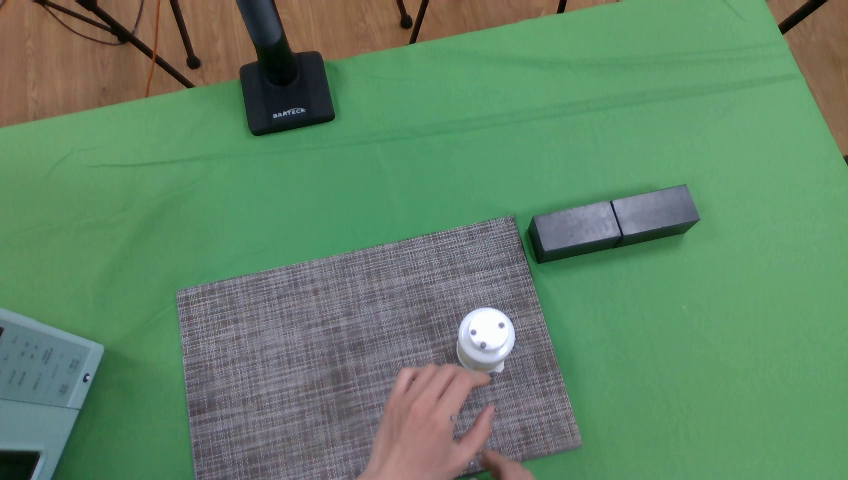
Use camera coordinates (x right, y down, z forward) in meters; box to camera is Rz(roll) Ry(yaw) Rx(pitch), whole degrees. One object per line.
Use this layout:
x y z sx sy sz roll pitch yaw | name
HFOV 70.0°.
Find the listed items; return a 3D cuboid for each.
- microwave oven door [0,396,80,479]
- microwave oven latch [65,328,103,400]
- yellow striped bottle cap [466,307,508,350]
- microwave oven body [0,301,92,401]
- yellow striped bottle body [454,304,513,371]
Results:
-0.468 0.314 0.554 0.039 0.245 0.354 13 72 6 | microwave oven door
-0.411 0.148 0.717 0.030 0.029 0.079 16 73 5 | microwave oven latch
0.067 0.094 0.649 0.044 0.019 0.044 0 73 1 | yellow striped bottle cap
-0.599 0.244 0.583 0.326 0.261 0.439 14 73 4 | microwave oven body
0.067 0.112 0.698 0.063 0.121 0.062 0 70 1 | yellow striped bottle body
